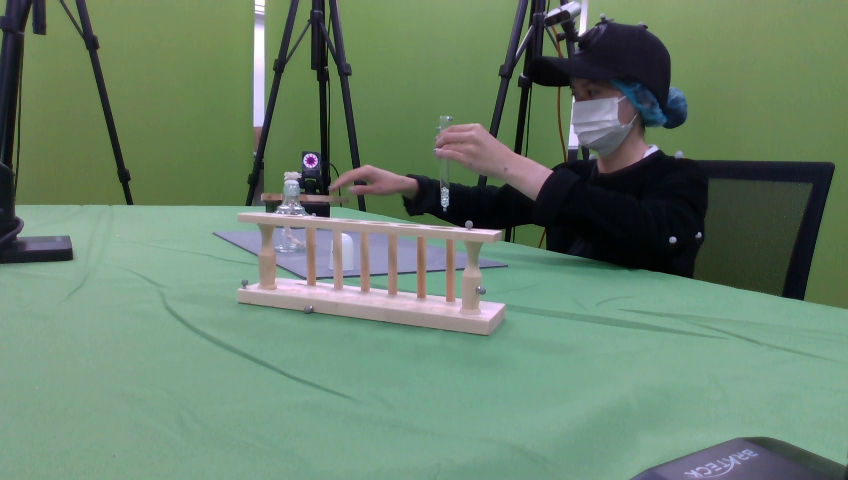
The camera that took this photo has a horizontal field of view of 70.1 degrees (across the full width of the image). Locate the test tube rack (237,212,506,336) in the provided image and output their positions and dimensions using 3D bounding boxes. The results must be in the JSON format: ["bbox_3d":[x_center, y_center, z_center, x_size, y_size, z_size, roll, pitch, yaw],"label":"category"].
[{"bbox_3d":[-0.049,0.024,0.552,0.242,0.085,0.067,5,8,18],"label":"test tube rack"}]

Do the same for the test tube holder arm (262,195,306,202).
[{"bbox_3d":[-0.278,-0.083,1.203,0.088,0.015,0.010,0,7,-30],"label":"test tube holder arm"}]

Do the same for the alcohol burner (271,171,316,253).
[{"bbox_3d":[-0.196,-0.041,0.884,0.078,0.119,0.078,3,5,0],"label":"alcohol burner"}]

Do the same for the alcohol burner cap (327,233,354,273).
[{"bbox_3d":[-0.104,0.015,0.752,0.034,0.048,0.034,3,6,0],"label":"alcohol burner cap"}]

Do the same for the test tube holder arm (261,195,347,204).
[{"bbox_3d":[-0.242,-0.083,1.231,0.179,0.015,0.013,0,7,-31],"label":"test tube holder arm"}]

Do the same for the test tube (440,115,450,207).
[{"bbox_3d":[0.034,-0.129,0.991,0.017,0.150,0.017,-1,10,0],"label":"test tube"}]
